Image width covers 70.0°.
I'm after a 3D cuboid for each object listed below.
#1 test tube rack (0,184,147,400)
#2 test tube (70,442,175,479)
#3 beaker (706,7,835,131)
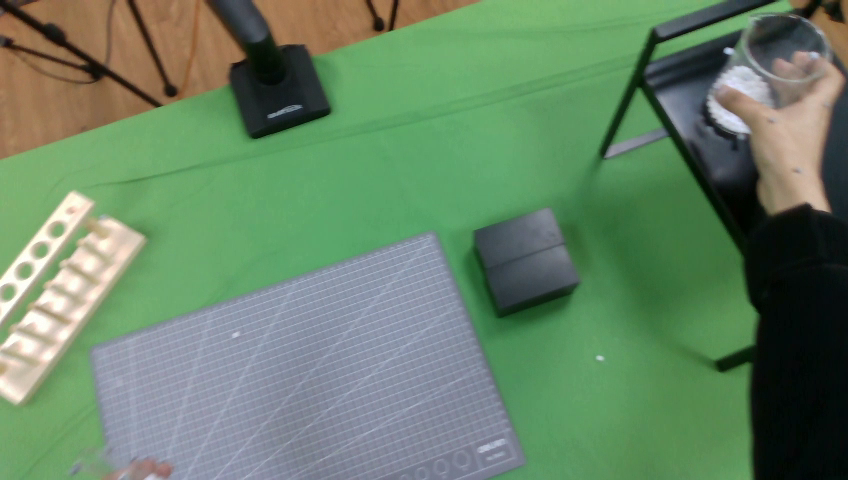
[{"bbox_3d":[-0.448,0.062,0.718,0.066,0.086,0.241,28,74,12],"label":"test tube rack"},{"bbox_3d":[-0.217,0.180,0.460,0.017,0.151,0.017,-3,58,6],"label":"test tube"},{"bbox_3d":[0.318,-0.157,0.573,0.074,0.101,0.083,-26,71,-8],"label":"beaker"}]
